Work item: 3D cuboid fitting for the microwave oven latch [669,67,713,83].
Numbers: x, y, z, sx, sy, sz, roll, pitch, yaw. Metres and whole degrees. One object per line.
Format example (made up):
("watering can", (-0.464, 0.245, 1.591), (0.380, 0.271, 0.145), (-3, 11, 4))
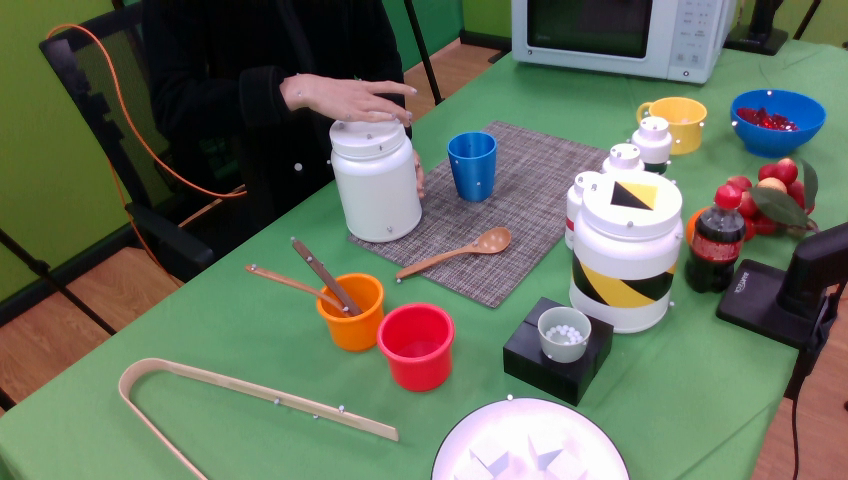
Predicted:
("microwave oven latch", (0.556, -0.349, 1.261), (0.078, 0.029, 0.030), (16, 46, 27))

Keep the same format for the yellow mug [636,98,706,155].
("yellow mug", (0.453, -0.217, 1.128), (0.100, 0.064, 0.129), (-34, 46, -27))

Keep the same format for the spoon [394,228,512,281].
("spoon", (0.045, 0.024, 0.935), (0.194, 0.022, 0.041), (-18, 66, -11))

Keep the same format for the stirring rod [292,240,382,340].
("stirring rod", (-0.119, 0.068, 0.825), (0.176, 0.006, 0.014), (49, 58, -3))

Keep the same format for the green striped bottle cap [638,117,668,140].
("green striped bottle cap", (0.369, -0.180, 0.974), (0.044, 0.020, 0.044), (-4, 41, 4))

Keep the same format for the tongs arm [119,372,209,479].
("tongs arm", (-0.258, 0.257, 0.700), (0.384, 0.028, 0.028), (24, 55, 34))

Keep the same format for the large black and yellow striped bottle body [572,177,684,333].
("large black and yellow striped bottle body", (0.262, 0.017, 0.788), (0.131, 0.185, 0.130), (-5, 40, 4))

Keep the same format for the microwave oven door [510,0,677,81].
("microwave oven door", (0.354, -0.478, 1.290), (0.353, 0.245, 0.039), (15, 45, 25))

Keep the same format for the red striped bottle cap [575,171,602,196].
("red striped bottle cap", (0.242, -0.081, 0.876), (0.044, 0.018, 0.044), (-5, 44, 5))

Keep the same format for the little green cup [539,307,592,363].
("little green cup", (0.168, 0.115, 0.721), (0.061, 0.039, 0.061), (-4, 42, 4))

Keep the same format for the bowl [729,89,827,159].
("bowl", (0.615, -0.197, 1.069), (0.151, 0.077, 0.150), (-5, 40, 5))

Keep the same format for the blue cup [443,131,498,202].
("blue cup", (0.087, -0.122, 1.040), (0.092, 0.101, 0.092), (-5, 42, 5))

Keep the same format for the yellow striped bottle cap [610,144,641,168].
("yellow striped bottle cap", (0.307, -0.128, 0.923), (0.044, 0.019, 0.044), (-6, 39, 5))

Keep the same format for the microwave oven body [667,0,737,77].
("microwave oven body", (0.462, -0.552, 1.368), (0.439, 0.261, 0.326), (14, 45, 26))

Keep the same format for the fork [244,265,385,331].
("fork", (-0.142, 0.078, 0.806), (0.209, 0.018, 0.028), (30, 31, -23))

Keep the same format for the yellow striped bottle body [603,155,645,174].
("yellow striped bottle body", (0.313, -0.089, 0.956), (0.063, 0.121, 0.062), (-4, 39, 4))

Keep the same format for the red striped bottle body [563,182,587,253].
("red striped bottle body", (0.246, -0.041, 0.910), (0.063, 0.120, 0.062), (-2, 38, 2))

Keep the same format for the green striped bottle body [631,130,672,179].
("green striped bottle body", (0.375, -0.140, 1.007), (0.063, 0.120, 0.063), (-5, 40, 5))

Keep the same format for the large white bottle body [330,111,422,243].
("large white bottle body", (-0.077, -0.102, 0.976), (0.130, 0.185, 0.130), (-4, 40, 4))

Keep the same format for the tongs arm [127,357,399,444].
("tongs arm", (-0.213, 0.205, 0.755), (0.382, 0.026, 0.051), (12, 46, 23))

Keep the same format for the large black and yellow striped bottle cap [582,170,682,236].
("large black and yellow striped bottle cap", (0.252, -0.048, 0.735), (0.115, 0.019, 0.114), (-3, 40, 3))

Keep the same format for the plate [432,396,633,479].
("plate", (0.112, 0.261, 0.634), (0.209, 0.038, 0.208), (-5, 40, 4))

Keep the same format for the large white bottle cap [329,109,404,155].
("large white bottle cap", (-0.088, -0.166, 0.922), (0.115, 0.018, 0.114), (-5, 40, 5))
